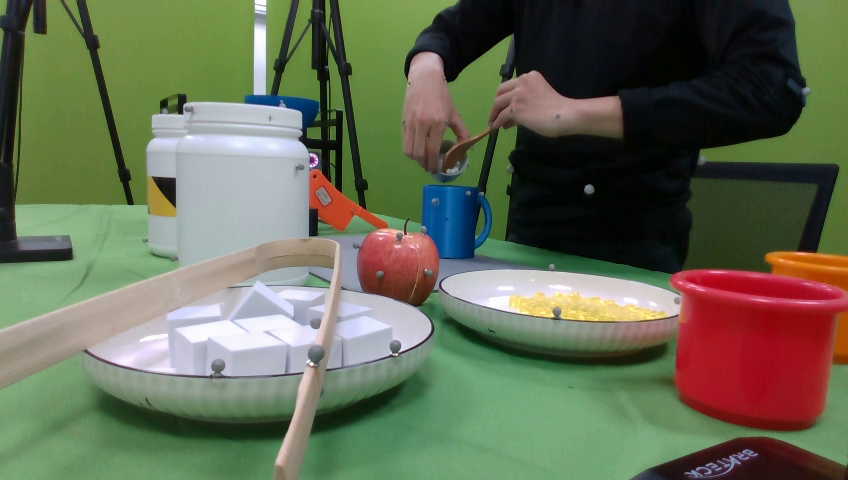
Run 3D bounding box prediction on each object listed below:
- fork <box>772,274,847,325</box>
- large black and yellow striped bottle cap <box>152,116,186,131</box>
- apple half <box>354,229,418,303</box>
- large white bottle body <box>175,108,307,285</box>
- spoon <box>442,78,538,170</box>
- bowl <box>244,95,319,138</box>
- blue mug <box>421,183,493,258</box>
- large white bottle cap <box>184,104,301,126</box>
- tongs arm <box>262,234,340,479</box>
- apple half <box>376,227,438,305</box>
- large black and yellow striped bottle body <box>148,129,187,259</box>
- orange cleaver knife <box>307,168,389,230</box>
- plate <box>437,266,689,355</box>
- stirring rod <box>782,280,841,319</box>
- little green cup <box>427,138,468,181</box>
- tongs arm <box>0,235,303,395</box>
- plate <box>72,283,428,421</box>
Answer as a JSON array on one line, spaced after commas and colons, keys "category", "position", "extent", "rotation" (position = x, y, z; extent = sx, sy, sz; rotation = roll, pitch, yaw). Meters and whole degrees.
[{"category": "fork", "position": [0.332, 0.018, 0.443], "extent": [0.028, 0.018, 0.207], "rotation": [-1, -36, -15]}, {"category": "large black and yellow striped bottle cap", "position": [-0.309, -0.156, 0.826], "extent": [0.115, 0.019, 0.115], "rotation": [3, 6, 0]}, {"category": "apple half", "position": [-0.044, 0.027, 0.564], "extent": [0.081, 0.081, 0.033], "rotation": [9, 5, 42]}, {"category": "large white bottle body", "position": [-0.188, -0.042, 0.630], "extent": [0.131, 0.184, 0.130], "rotation": [2, 8, 0]}, {"category": "spoon", "position": [0.099, -0.174, 0.906], "extent": [0.193, 0.021, 0.042], "rotation": [-39, -22, 5]}, {"category": "bowl", "position": [-0.293, -0.251, 1.249], "extent": [0.151, 0.077, 0.151], "rotation": [2, 7, 0]}, {"category": "blue mug", "position": [0.052, -0.032, 0.912], "extent": [0.117, 0.106, 0.082], "rotation": [-1, 8, -24]}, {"category": "large white bottle cap", "position": [-0.184, -0.126, 0.618], "extent": [0.115, 0.018, 0.115], "rotation": [2, 8, 0]}, {"category": "tongs arm", "position": [-0.074, 0.039, 0.349], "extent": [0.051, 0.026, 0.384], "rotation": [-2, 10, -3]}, {"category": "apple half", "position": [-0.017, 0.026, 0.593], "extent": [0.080, 0.074, 0.053], "rotation": [4, 2, 43]}, {"category": "large black and yellow striped bottle body", "position": [-0.310, -0.073, 0.838], "extent": [0.131, 0.184, 0.130], "rotation": [2, 8, 0]}, {"category": "orange cleaver knife", "position": [-0.158, -0.060, 1.166], "extent": [0.212, 0.077, 0.012], "rotation": [34, -12, -32]}, {"category": "plate", "position": [0.114, 0.057, 0.517], "extent": [0.209, 0.038, 0.209], "rotation": [3, 7, 0]}, {"category": "stirring rod", "position": [0.344, 0.019, 0.461], "extent": [0.014, 0.006, 0.176], "rotation": [-13, -27, -30]}, {"category": "little green cup", "position": [0.034, -0.122, 0.935], "extent": [0.062, 0.061, 0.038], "rotation": [1, -18, -11]}, {"category": "tongs arm", "position": [-0.157, 0.038, 0.351], "extent": [0.028, 0.028, 0.388], "rotation": [-3, 9, 12]}, {"category": "plate", "position": [-0.102, 0.066, 0.381], "extent": [0.208, 0.039, 0.207], "rotation": [2, 7, 0]}]
